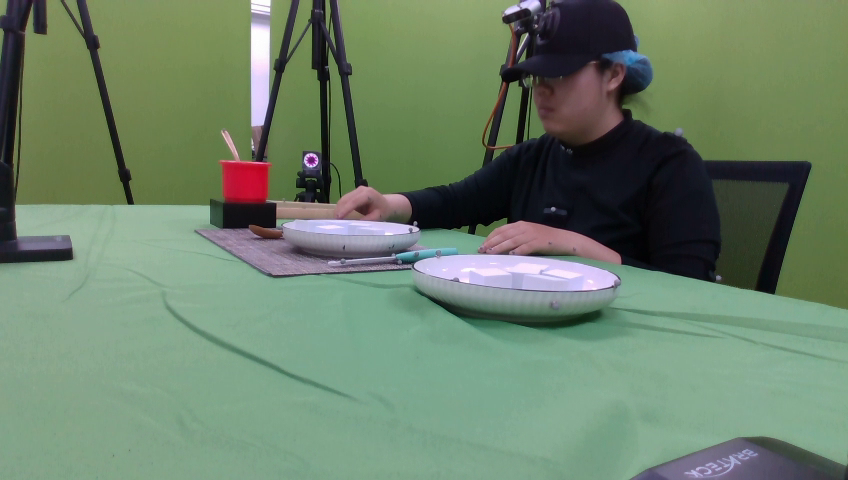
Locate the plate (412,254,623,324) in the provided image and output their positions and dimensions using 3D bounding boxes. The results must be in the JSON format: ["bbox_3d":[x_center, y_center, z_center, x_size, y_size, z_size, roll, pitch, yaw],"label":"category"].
[{"bbox_3d":[0.090,0.047,0.609,0.209,0.038,0.209,2,7,0],"label":"plate"}]

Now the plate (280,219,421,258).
[{"bbox_3d":[-0.108,-0.002,0.902,0.208,0.039,0.207,3,7,0],"label":"plate"}]

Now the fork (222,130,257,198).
[{"bbox_3d":[-0.368,-0.152,1.193,0.028,0.018,0.206,-9,54,-30],"label":"fork"}]

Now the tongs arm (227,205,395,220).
[{"bbox_3d":[-0.247,-0.062,1.382,0.389,0.028,0.028,0,5,-21],"label":"tongs arm"}]

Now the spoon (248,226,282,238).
[{"bbox_3d":[-0.198,-0.015,1.024,0.195,0.021,0.041,-2,-10,-30],"label":"spoon"}]

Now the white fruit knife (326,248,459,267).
[{"bbox_3d":[-0.034,0.026,0.807,0.208,0.016,0.027,-4,-18,-34],"label":"white fruit knife"}]

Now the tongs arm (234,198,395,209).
[{"bbox_3d":[-0.263,-0.076,1.460,0.386,0.026,0.050,3,8,-8],"label":"tongs arm"}]
